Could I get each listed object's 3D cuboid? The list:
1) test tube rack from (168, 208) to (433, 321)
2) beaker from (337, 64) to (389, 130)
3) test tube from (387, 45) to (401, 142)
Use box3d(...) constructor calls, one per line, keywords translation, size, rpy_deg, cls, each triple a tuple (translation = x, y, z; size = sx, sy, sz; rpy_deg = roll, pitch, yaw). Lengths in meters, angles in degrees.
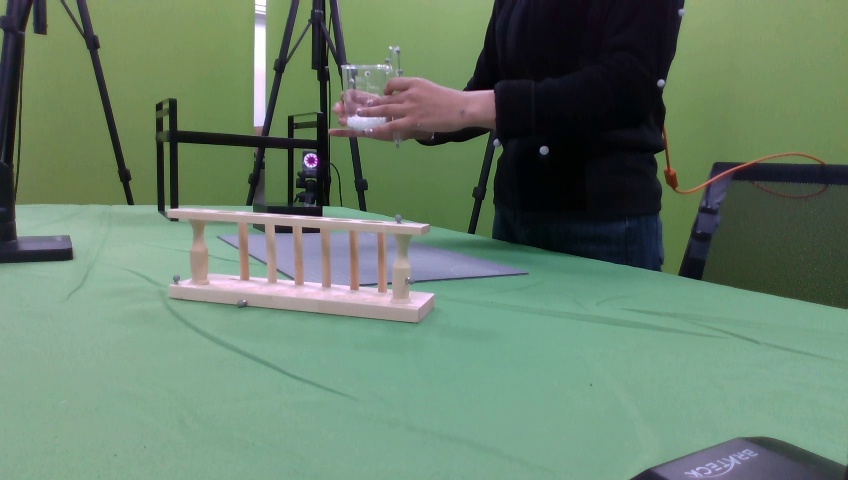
box3d(translation=(-0.116, 0.017, 0.574), size=(0.242, 0.085, 0.067), rpy_deg=(4, 8, 13), cls="test tube rack")
box3d(translation=(-0.095, -0.234, 0.985), size=(0.084, 0.100, 0.074), rpy_deg=(2, 20, 10), cls="beaker")
box3d(translation=(-0.046, -0.227, 0.947), size=(0.017, 0.150, 0.017), rpy_deg=(-1, 27, 1), cls="test tube")
